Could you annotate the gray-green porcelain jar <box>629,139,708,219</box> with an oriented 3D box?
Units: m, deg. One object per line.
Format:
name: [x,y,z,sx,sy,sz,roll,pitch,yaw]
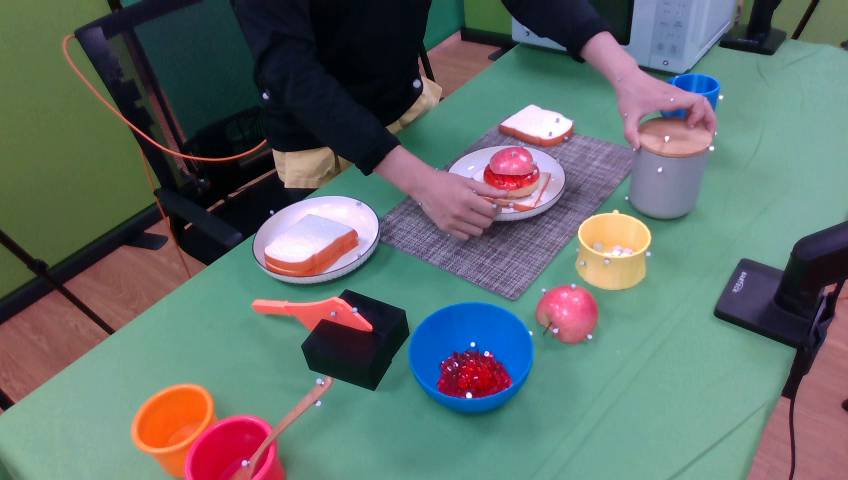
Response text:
gray-green porcelain jar: [0.384,-0.106,0.959,0.106,0.127,0.105,-4,41,4]

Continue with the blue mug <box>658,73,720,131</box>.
blue mug: [0.483,-0.250,1.127,0.082,0.106,0.115,-26,44,-19]

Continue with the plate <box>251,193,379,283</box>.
plate: [-0.174,-0.001,0.984,0.209,0.038,0.208,-4,41,4]

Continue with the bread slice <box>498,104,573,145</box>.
bread slice: [0.230,-0.231,1.205,0.105,0.019,0.130,-36,47,-29]

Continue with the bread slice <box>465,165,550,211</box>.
bread slice: [0.139,-0.090,1.044,0.133,0.018,0.107,12,44,19]

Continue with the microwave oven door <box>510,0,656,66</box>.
microwave oven door: [0.350,-0.539,1.348,0.353,0.245,0.039,24,50,31]

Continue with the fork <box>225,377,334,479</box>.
fork: [-0.163,0.216,0.646,0.207,0.019,0.028,-49,42,16]

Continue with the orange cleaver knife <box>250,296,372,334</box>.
orange cleaver knife: [-0.158,0.103,0.828,0.210,0.078,0.012,-4,43,39]

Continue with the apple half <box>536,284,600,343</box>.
apple half: [0.196,0.091,0.815,0.075,0.053,0.080,-22,42,-20]

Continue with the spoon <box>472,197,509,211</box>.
spoon: [0.105,-0.057,0.926,0.042,0.021,0.193,16,-2,-4]

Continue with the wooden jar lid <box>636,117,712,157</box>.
wooden jar lid: [0.377,-0.153,0.919,0.108,0.021,0.108,-2,41,3]

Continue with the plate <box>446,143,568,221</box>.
plate: [0.142,-0.097,1.045,0.207,0.039,0.206,-4,41,4]

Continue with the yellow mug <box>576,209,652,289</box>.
yellow mug: [0.279,0.004,0.893,0.099,0.064,0.130,6,42,14]

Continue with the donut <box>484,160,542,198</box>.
donut: [0.149,-0.110,1.015,0.099,0.048,0.098,-3,43,3]

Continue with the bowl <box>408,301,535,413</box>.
bowl: [0.060,0.156,0.739,0.151,0.077,0.150,-4,40,4]

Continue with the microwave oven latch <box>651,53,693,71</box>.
microwave oven latch: [0.532,-0.387,1.301,0.078,0.029,0.030,28,52,35]

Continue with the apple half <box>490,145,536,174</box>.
apple half: [0.146,-0.137,0.995,0.081,0.033,0.081,-4,33,3]

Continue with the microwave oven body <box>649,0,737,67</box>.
microwave oven body: [0.475,-0.602,1.411,0.438,0.261,0.327,23,50,32]
